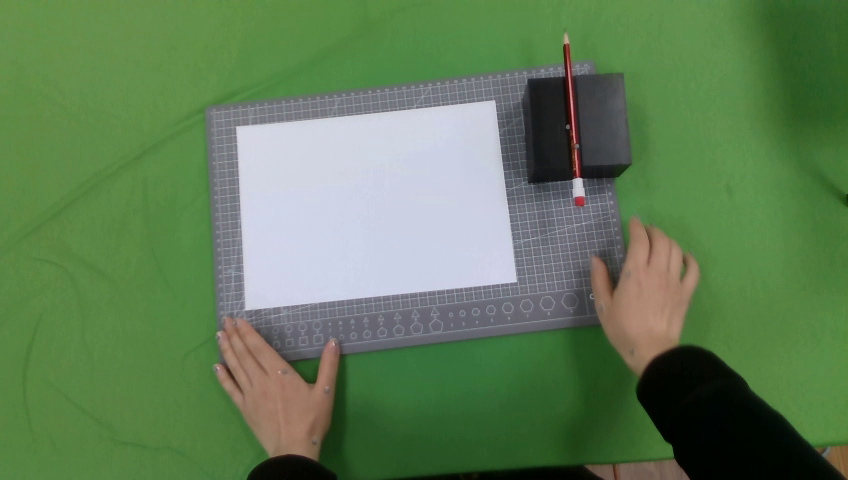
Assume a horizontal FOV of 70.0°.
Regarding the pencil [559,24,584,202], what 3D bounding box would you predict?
[{"bbox_3d":[0.151,-0.134,0.628,0.012,0.012,0.193,-4,81,1],"label":"pencil"}]
